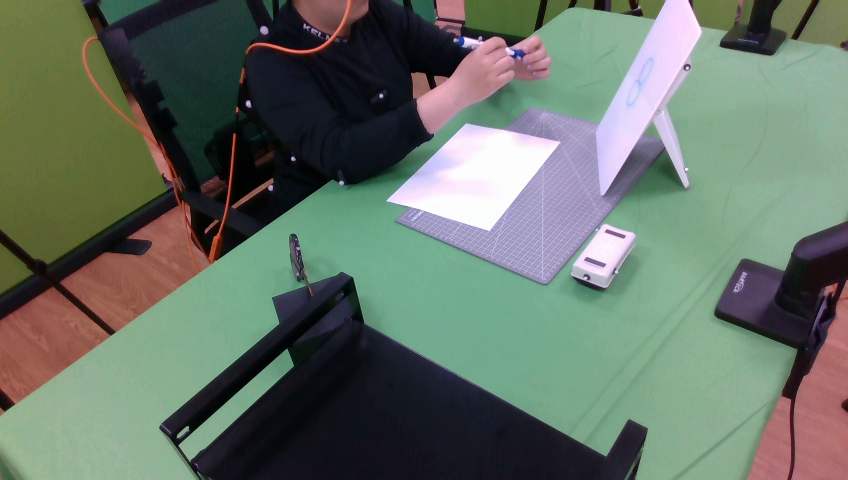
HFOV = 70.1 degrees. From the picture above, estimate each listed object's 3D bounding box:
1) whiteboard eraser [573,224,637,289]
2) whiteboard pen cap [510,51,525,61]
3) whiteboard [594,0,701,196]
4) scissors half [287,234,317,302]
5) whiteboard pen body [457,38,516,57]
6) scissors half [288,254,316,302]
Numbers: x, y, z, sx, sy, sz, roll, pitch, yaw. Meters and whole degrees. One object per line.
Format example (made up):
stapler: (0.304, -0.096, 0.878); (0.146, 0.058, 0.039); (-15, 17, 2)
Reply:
whiteboard eraser: (0.267, 0.025, 0.891); (0.055, 0.042, 0.113); (19, 47, 31)
whiteboard pen cap: (0.173, -0.342, 1.123); (0.018, 0.018, 0.033); (24, 20, 32)
whiteboard: (0.420, -0.227, 1.010); (0.144, 0.305, 0.216); (18, 42, -2)
scissors half: (-0.179, 0.040, 0.885); (0.013, 0.040, 0.173); (-11, 36, -20)
whiteboard pen body: (0.115, -0.340, 1.075); (0.142, 0.017, 0.017); (-3, 31, -38)
scissors half: (-0.178, 0.058, 0.894); (0.013, 0.040, 0.174); (-16, 20, -17)
